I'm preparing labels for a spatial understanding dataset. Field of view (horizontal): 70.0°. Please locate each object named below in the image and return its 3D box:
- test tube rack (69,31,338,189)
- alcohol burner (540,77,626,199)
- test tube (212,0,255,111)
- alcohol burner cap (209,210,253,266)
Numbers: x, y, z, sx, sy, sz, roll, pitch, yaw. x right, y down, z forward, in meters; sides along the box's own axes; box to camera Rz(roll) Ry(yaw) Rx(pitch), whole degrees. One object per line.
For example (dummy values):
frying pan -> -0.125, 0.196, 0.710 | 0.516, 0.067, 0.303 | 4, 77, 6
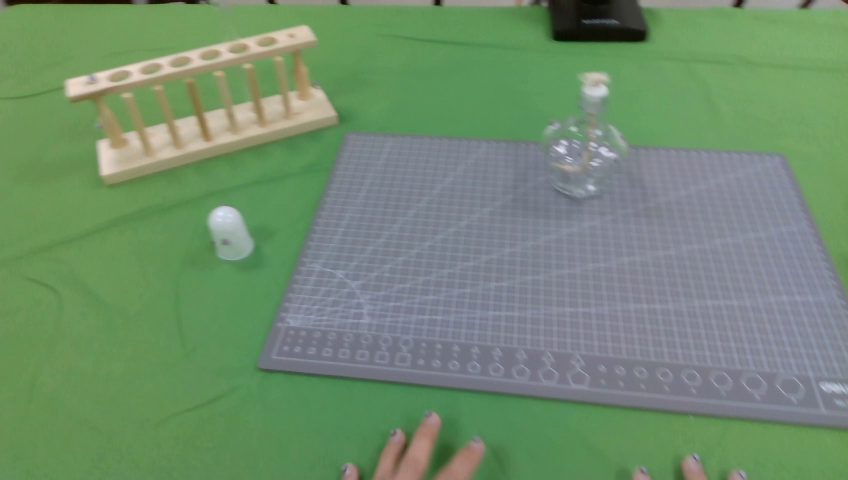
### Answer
test tube rack -> -0.220, -0.138, 0.629 | 0.243, 0.086, 0.066 | -19, 47, -15
alcohol burner -> 0.146, -0.095, 0.548 | 0.078, 0.120, 0.077 | 0, 47, 1
test tube -> -0.192, -0.197, 0.616 | 0.017, 0.152, 0.017 | -3, 45, 3
alcohol burner cap -> -0.171, -0.004, 0.527 | 0.034, 0.048, 0.033 | -1, 45, 1
